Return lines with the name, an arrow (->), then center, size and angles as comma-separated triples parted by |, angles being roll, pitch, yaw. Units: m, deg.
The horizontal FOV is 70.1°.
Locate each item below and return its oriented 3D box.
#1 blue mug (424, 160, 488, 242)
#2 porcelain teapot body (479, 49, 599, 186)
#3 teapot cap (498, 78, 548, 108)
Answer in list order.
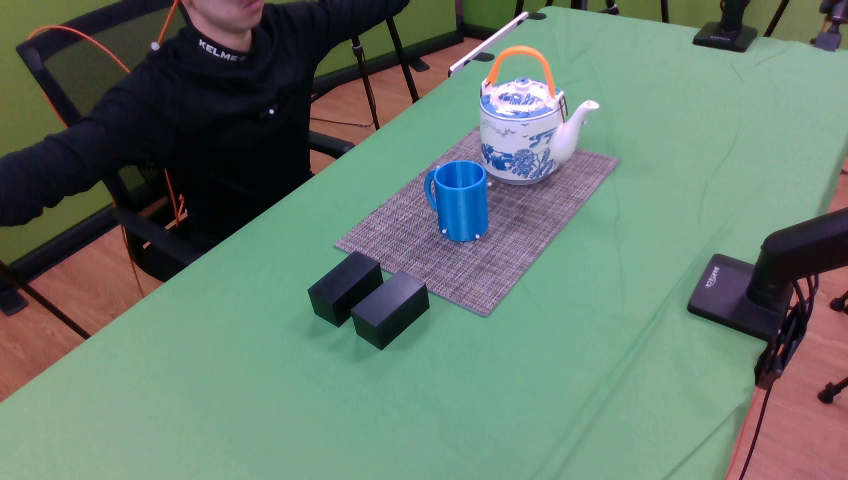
blue mug -> 0.047, -0.067, 0.970 | 0.115, 0.106, 0.082 | 22, 49, 30
porcelain teapot body -> 0.192, -0.208, 1.023 | 0.204, 0.226, 0.145 | 17, 46, 25
teapot cap -> 0.165, -0.246, 1.010 | 0.085, 0.044, 0.084 | -4, 44, 5
